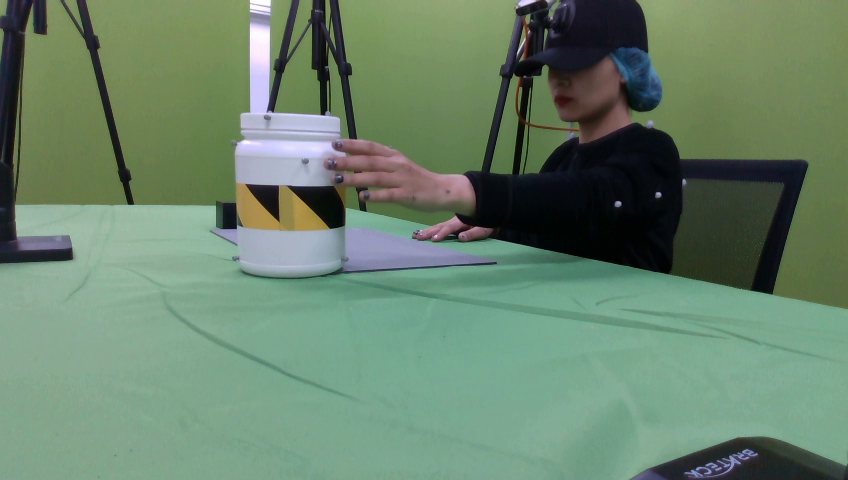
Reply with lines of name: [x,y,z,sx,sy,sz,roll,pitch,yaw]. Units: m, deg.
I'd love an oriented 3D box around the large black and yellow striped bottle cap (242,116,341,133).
large black and yellow striped bottle cap: [-0.157,-0.137,0.718,0.115,0.019,0.115,1,10,0]

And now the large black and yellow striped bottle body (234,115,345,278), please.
large black and yellow striped bottle body: [-0.161,-0.055,0.732,0.131,0.184,0.130,2,9,0]
